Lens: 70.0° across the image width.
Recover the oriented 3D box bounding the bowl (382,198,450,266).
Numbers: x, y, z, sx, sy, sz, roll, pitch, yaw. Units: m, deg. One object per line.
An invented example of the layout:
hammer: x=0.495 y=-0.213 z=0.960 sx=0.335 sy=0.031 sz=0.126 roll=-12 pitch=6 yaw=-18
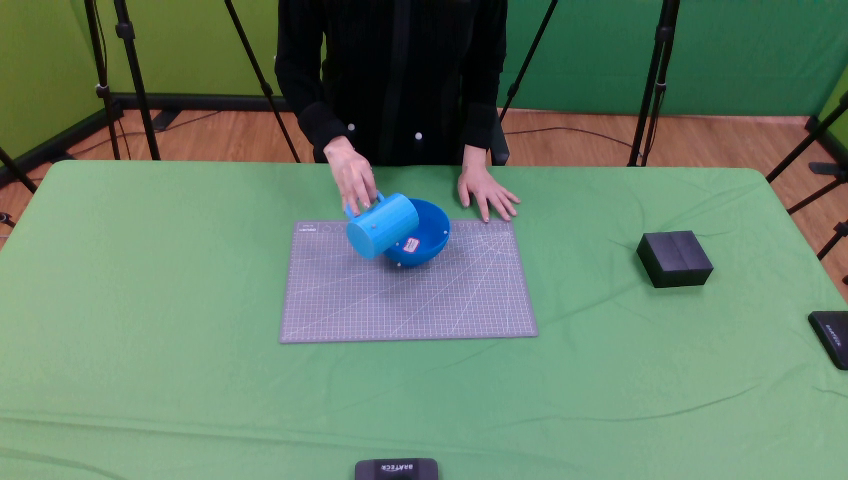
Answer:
bowl: x=-0.028 y=-0.003 z=1.156 sx=0.151 sy=0.077 sz=0.150 roll=2 pitch=46 yaw=-2

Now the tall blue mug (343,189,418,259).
tall blue mug: x=-0.082 y=-0.039 z=1.060 sx=0.108 sy=0.107 sz=0.077 roll=-36 pitch=15 yaw=-31
